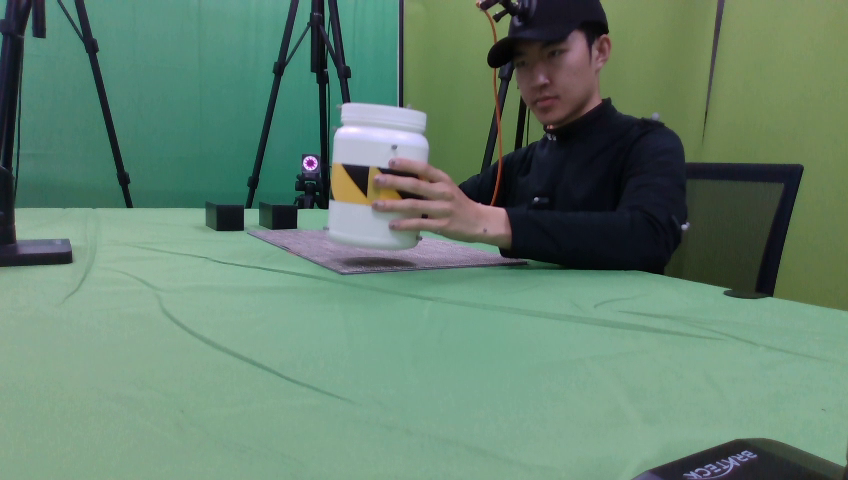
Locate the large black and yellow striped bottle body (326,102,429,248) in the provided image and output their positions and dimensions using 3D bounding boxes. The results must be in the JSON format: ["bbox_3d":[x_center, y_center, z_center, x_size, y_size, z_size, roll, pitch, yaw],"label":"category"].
[{"bbox_3d":[-0.063,-0.088,0.825,0.131,0.184,0.130,6,7,0],"label":"large black and yellow striped bottle body"}]

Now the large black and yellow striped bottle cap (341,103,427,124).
[{"bbox_3d":[-0.053,-0.169,0.814,0.115,0.019,0.115,4,7,0],"label":"large black and yellow striped bottle cap"}]
